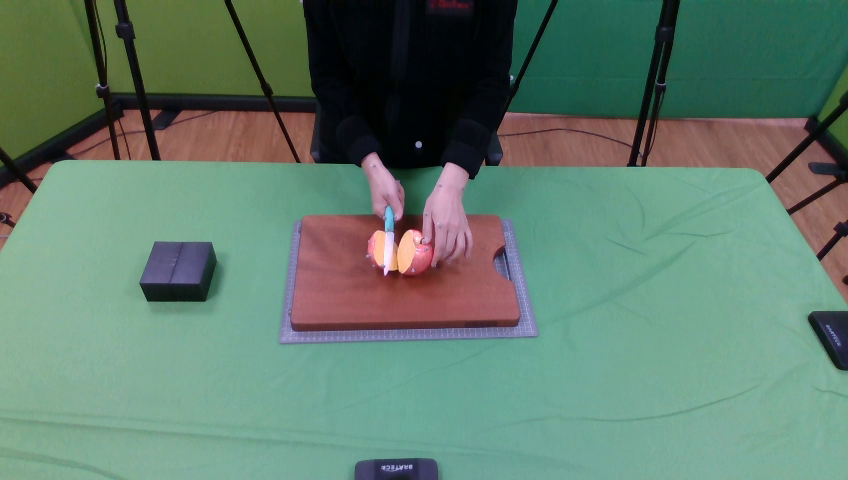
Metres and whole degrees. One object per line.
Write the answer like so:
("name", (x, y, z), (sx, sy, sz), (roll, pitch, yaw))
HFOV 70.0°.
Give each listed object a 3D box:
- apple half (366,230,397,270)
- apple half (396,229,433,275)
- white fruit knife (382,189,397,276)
("apple half", (-0.080, 0.025, 1.106), (0.033, 0.082, 0.081), (-22, 37, 30))
("apple half", (-0.014, 0.026, 1.097), (0.053, 0.075, 0.080), (13, 39, -26))
("white fruit knife", (-0.066, -0.018, 1.127), (0.016, 0.027, 0.206), (-26, 45, 32))
